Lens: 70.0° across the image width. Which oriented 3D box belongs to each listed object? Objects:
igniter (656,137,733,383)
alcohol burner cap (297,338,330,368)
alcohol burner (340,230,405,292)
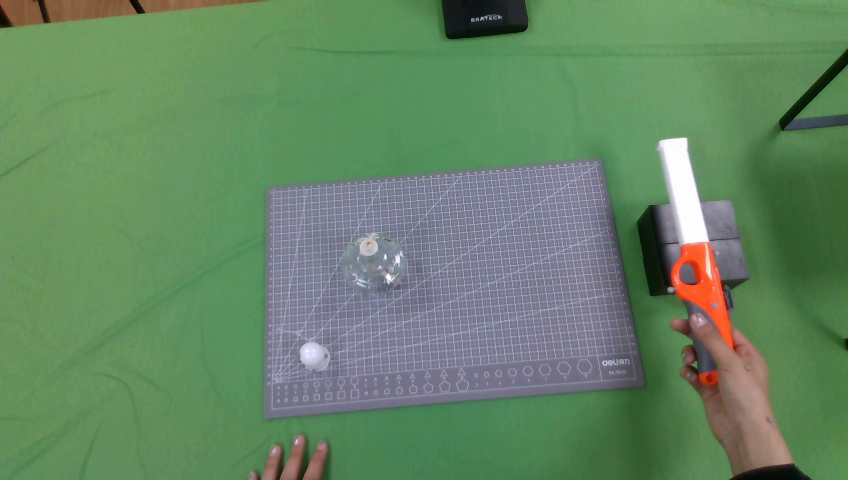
[{"bbox_3d":[0.292,0.015,0.658,0.057,0.025,0.274,-4,71,4],"label":"igniter"},{"bbox_3d":[-0.133,0.132,0.714,0.034,0.048,0.033,-1,71,3],"label":"alcohol burner cap"},{"bbox_3d":[-0.062,0.020,0.712,0.078,0.120,0.077,0,70,0],"label":"alcohol burner"}]
